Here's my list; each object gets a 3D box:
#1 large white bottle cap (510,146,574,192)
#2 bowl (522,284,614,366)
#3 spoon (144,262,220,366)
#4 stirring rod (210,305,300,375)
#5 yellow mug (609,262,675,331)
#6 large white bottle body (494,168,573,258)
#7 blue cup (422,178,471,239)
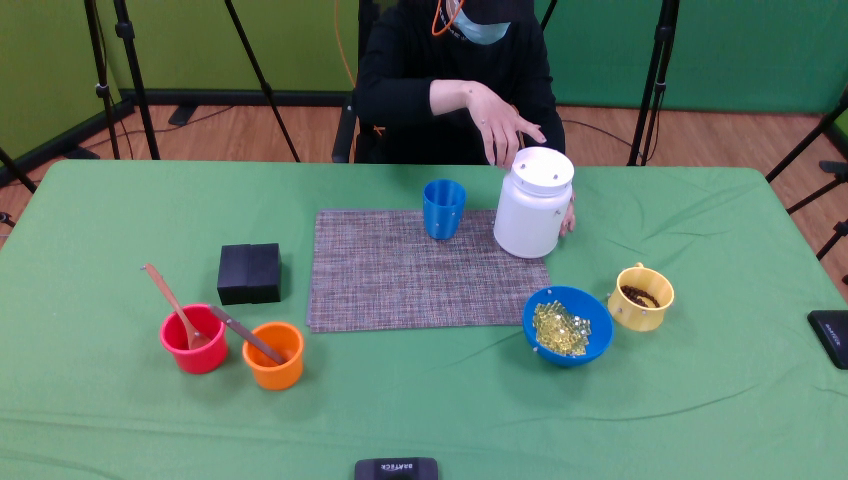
[{"bbox_3d":[0.214,-0.130,1.098,0.115,0.018,0.114,3,46,-3],"label":"large white bottle cap"},{"bbox_3d":[0.235,0.158,1.022,0.151,0.077,0.150,2,46,-2],"label":"bowl"},{"bbox_3d":[-0.389,0.118,0.970,0.041,0.021,0.194,-34,101,-33],"label":"spoon"},{"bbox_3d":[-0.262,0.158,0.946,0.177,0.006,0.014,43,44,-21],"label":"stirring rod"},{"bbox_3d":[0.393,0.094,1.103,0.100,0.064,0.130,7,45,4],"label":"yellow mug"},{"bbox_3d":[0.209,-0.070,1.160,0.131,0.185,0.130,2,46,-2],"label":"large white bottle body"},{"bbox_3d":[0.036,-0.056,1.192,0.093,0.101,0.092,3,45,-3],"label":"blue cup"}]
